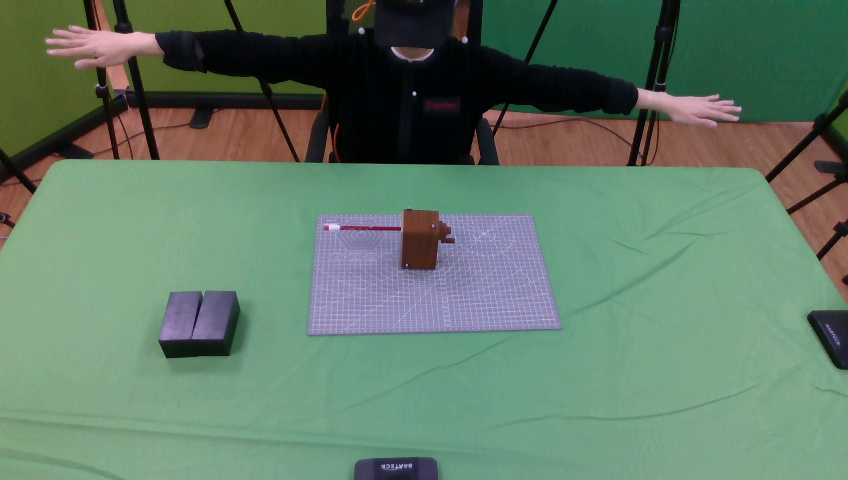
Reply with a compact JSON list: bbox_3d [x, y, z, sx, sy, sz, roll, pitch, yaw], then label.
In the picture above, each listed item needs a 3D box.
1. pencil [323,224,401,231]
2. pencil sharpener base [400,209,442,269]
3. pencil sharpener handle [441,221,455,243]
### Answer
[{"bbox_3d":[-0.088,-0.021,1.113,0.194,0.012,0.012,2,46,-2],"label":"pencil"},{"bbox_3d":[-0.006,0.000,1.134,0.077,0.107,0.061,2,46,-2],"label":"pencil sharpener base"},{"bbox_3d":[0.046,-0.011,1.130,0.030,0.068,0.036,2,65,-2],"label":"pencil sharpener handle"}]
